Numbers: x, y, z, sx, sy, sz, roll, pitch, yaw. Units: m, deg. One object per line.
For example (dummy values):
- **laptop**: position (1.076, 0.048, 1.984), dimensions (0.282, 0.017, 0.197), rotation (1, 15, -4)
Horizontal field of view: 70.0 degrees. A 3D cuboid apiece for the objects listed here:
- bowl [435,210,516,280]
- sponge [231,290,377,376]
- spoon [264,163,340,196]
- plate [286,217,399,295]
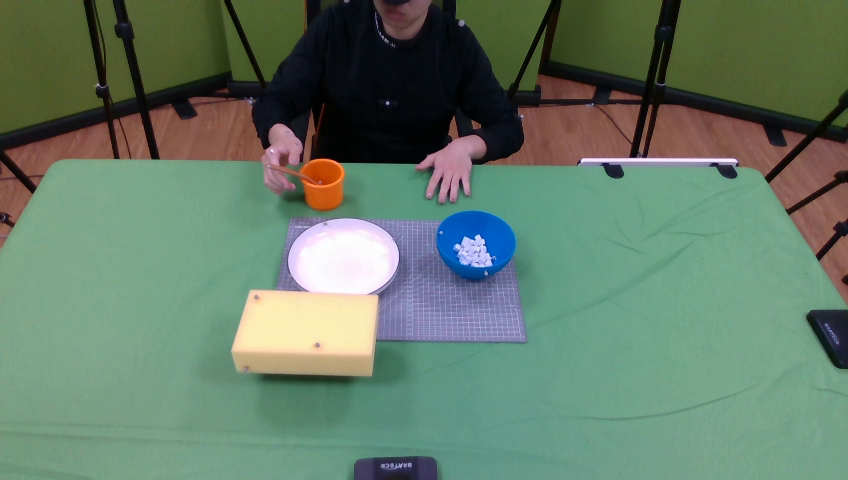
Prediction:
- **bowl**: position (0.093, 0.022, 1.141), dimensions (0.151, 0.077, 0.150), rotation (3, 46, -2)
- **sponge**: position (-0.180, 0.144, 0.949), dimensions (0.207, 0.061, 0.117), rotation (2, 46, -2)
- **spoon**: position (-0.241, -0.123, 1.211), dimensions (0.021, 0.195, 0.041), rotation (-48, 54, 13)
- **plate**: position (-0.150, 0.041, 1.131), dimensions (0.209, 0.038, 0.208), rotation (2, 45, -2)
